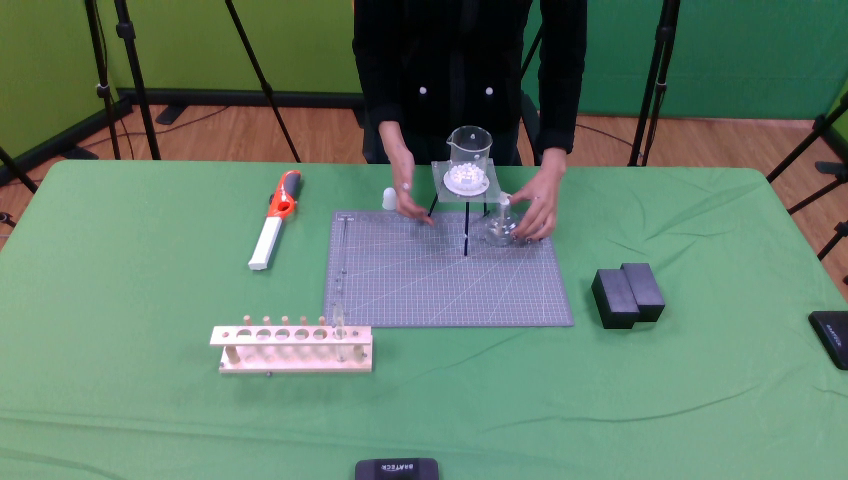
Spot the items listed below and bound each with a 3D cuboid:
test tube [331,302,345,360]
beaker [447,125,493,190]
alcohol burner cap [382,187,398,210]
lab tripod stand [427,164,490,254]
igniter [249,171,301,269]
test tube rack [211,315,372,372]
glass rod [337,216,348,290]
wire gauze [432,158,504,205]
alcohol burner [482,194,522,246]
[{"bbox_3d":[-0.132,0.144,0.938,0.017,0.151,0.017,2,49,-3],"label":"test tube"},{"bbox_3d":[0.079,-0.148,1.106,0.084,0.101,0.073,-3,47,-7],"label":"beaker"},{"bbox_3d":[-0.072,-0.090,1.266,0.034,0.048,0.033,2,46,-2],"label":"alcohol burner cap"},{"bbox_3d":[0.078,-0.068,1.188,0.148,0.132,0.147,3,47,-3],"label":"lab tripod stand"},{"bbox_3d":[-0.297,-0.049,1.220,0.057,0.025,0.275,-1,45,9],"label":"igniter"},{"bbox_3d":[-0.208,0.163,0.982,0.242,0.085,0.066,1,46,-4],"label":"test tube rack"},{"bbox_3d":[-0.158,0.021,1.171,0.008,0.008,0.198,1,44,-2],"label":"glass rod"},{"bbox_3d":[0.081,-0.111,1.138,0.125,0.011,0.120,0,48,-7],"label":"wire gauze"},{"bbox_3d":[0.155,-0.046,1.185,0.078,0.120,0.077,2,48,-2],"label":"alcohol burner"}]
